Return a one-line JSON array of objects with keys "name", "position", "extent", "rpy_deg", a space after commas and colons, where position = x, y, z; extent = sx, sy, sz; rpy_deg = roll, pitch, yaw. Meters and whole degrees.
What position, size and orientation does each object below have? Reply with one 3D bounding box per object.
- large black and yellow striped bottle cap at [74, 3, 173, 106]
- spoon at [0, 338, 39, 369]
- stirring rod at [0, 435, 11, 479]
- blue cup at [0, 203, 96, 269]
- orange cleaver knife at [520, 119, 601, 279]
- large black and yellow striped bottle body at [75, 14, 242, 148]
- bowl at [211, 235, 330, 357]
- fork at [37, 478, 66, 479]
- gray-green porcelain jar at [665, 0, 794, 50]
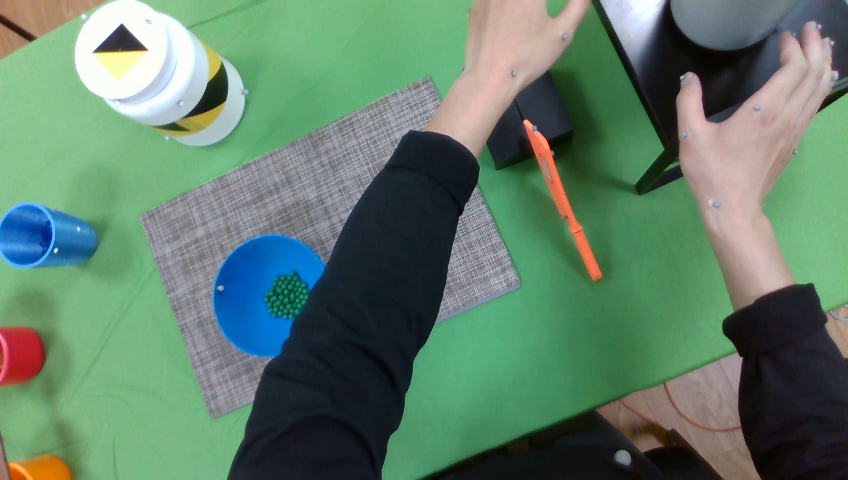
[{"name": "large black and yellow striped bottle cap", "position": [-0.342, -0.211, 0.688], "extent": [0.115, 0.019, 0.115], "rpy_deg": [-1, 86, 10]}, {"name": "spoon", "position": [-0.628, 0.170, 0.809], "extent": [0.194, 0.021, 0.041], "rpy_deg": [-11, 82, -35]}, {"name": "stirring rod", "position": [-0.536, 0.310, 0.776], "extent": [0.014, 0.006, 0.175], "rpy_deg": [-19, 83, 5]}, {"name": "blue cup", "position": [-0.505, -0.001, 0.823], "extent": [0.092, 0.100, 0.092], "rpy_deg": [-1, 85, 8]}, {"name": "orange cleaver knife", "position": [0.164, -0.048, 0.728], "extent": [0.012, 0.076, 0.213], "rpy_deg": [-28, 111, 2]}, {"name": "large black and yellow striped bottle body", "position": [-0.329, -0.202, 0.770], "extent": [0.130, 0.184, 0.130], "rpy_deg": [-1, 84, 9]}, {"name": "bowl", "position": [-0.183, 0.071, 0.773], "extent": [0.151, 0.077, 0.151], "rpy_deg": [-1, 85, 9]}, {"name": "fork", "position": [-0.581, 0.338, 0.782], "extent": [0.209, 0.018, 0.028], "rpy_deg": [1, 93, -34]}, {"name": "gray-green porcelain jar", "position": [0.271, -0.232, 0.521], "extent": [0.105, 0.127, 0.105], "rpy_deg": [-1, 85, 10]}]
